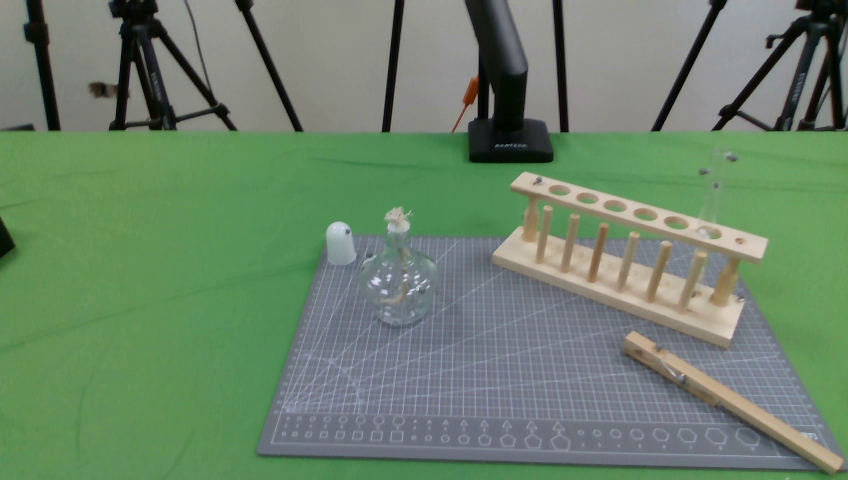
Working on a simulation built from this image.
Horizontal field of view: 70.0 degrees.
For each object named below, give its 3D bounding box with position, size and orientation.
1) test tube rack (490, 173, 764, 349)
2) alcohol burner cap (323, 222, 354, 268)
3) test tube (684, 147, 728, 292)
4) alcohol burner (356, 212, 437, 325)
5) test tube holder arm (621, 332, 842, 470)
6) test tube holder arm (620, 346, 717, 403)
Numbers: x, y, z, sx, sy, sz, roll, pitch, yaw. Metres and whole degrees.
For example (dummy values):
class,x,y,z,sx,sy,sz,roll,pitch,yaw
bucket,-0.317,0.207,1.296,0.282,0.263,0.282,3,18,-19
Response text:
class,x,y,z,sx,sy,sz,roll,pitch,yaw
test tube rack,0.189,0.013,0.603,0.240,0.086,0.066,20,41,27
alcohol burner cap,-0.094,0.003,0.662,0.034,0.048,0.033,1,36,0
test tube,0.256,-0.014,0.555,0.017,0.151,0.017,-4,33,3
alcohol burner,-0.026,0.023,0.571,0.078,0.120,0.077,0,37,0
test tube holder arm,0.243,0.127,0.496,0.015,0.013,0.176,-35,48,-30
test tube holder arm,0.212,0.114,0.526,0.015,0.010,0.087,-35,42,-31
